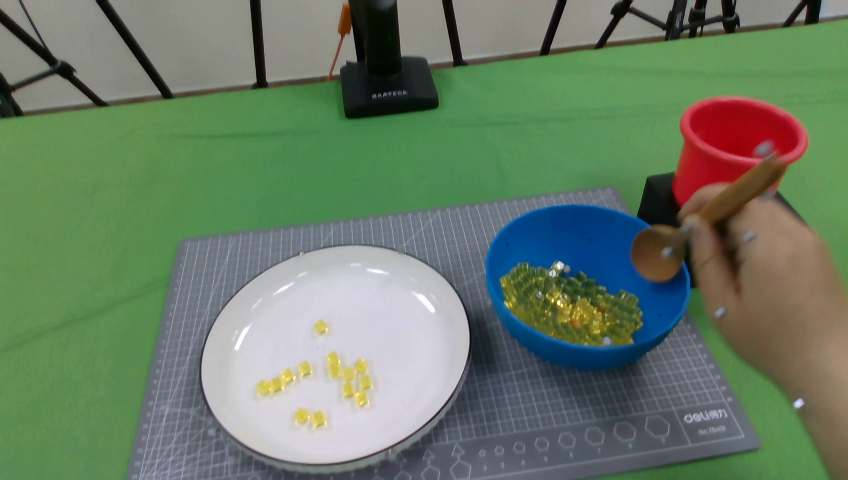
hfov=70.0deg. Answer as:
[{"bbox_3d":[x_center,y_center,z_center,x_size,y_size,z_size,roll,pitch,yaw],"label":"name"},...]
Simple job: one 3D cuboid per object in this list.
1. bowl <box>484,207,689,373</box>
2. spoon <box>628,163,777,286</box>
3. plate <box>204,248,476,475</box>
[{"bbox_3d":[0.122,0.051,0.480,0.151,0.077,0.150,-2,44,2],"label":"bowl"},{"bbox_3d":[0.166,-0.003,0.380,0.021,0.194,0.041,-28,76,-3],"label":"spoon"},{"bbox_3d":[-0.063,0.090,0.480,0.207,0.039,0.205,-2,44,2],"label":"plate"}]
